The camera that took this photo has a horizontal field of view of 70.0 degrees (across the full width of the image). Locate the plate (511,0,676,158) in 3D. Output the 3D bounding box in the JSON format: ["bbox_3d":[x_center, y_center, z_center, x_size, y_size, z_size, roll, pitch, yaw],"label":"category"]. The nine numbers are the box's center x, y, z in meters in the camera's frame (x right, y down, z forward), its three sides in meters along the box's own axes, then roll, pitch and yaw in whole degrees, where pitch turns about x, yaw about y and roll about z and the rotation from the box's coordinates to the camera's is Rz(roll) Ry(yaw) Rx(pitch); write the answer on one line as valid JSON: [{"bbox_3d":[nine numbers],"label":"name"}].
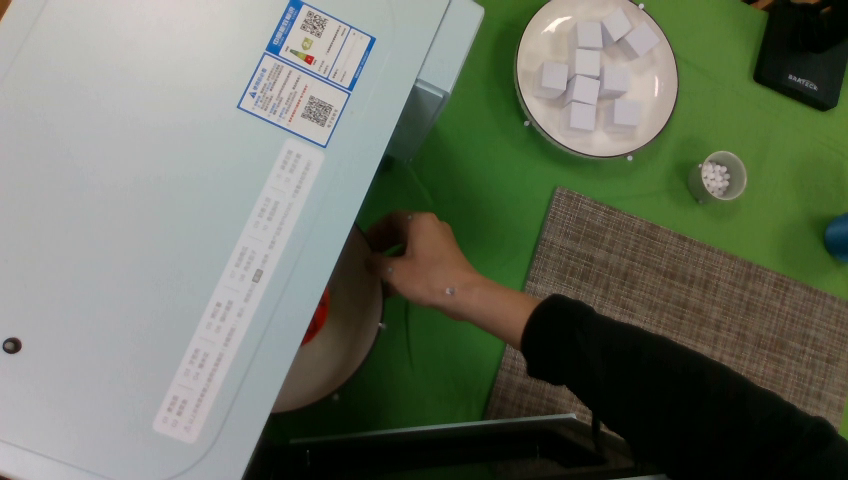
[{"bbox_3d":[0.203,-0.199,0.738,0.208,0.039,0.207,1,84,-10],"label":"plate"}]

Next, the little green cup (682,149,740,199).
[{"bbox_3d":[0.355,-0.079,0.755,0.062,0.038,0.061,1,84,-10],"label":"little green cup"}]

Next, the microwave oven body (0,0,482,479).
[{"bbox_3d":[-0.203,-0.040,0.530,0.327,0.260,0.440,23,82,-8],"label":"microwave oven body"}]

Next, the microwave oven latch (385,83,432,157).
[{"bbox_3d":[-0.019,-0.134,0.671,0.030,0.029,0.079,27,81,-7],"label":"microwave oven latch"}]

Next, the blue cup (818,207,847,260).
[{"bbox_3d":[0.556,-0.010,0.755,0.093,0.100,0.092,1,86,-10],"label":"blue cup"}]

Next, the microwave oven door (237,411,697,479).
[{"bbox_3d":[0.017,0.206,0.544,0.357,0.243,0.039,-2,84,-11],"label":"microwave oven door"}]

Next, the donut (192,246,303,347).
[{"bbox_3d":[-0.162,0.053,0.562,0.099,0.048,0.099,-7,111,-18],"label":"donut"}]

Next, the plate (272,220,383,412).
[{"bbox_3d":[-0.143,0.051,0.561,0.209,0.038,0.208,2,80,-9],"label":"plate"}]
